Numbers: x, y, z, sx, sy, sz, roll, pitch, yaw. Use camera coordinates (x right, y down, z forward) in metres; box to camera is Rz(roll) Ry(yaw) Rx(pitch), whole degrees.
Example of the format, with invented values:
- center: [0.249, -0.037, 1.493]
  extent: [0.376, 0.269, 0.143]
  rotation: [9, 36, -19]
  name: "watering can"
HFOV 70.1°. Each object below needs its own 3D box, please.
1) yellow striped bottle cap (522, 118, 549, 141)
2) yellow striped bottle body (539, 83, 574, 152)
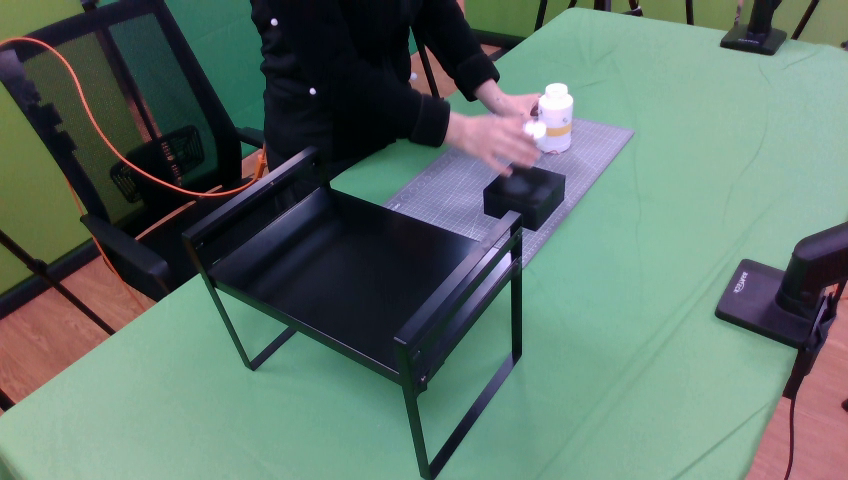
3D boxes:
- center: [0.186, -0.185, 1.010]
  extent: [0.044, 0.019, 0.044]
  rotation: [-8, 44, 8]
  name: "yellow striped bottle cap"
- center: [0.246, -0.230, 1.126]
  extent: [0.063, 0.121, 0.062]
  rotation: [-5, 42, 5]
  name: "yellow striped bottle body"
